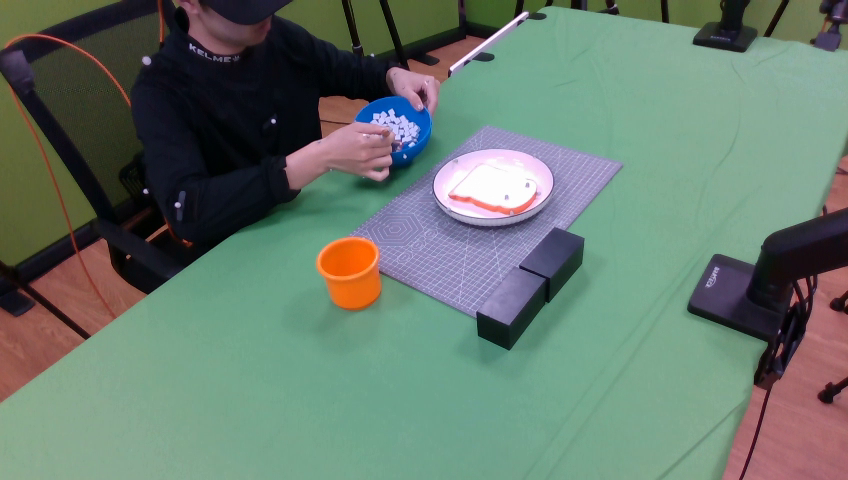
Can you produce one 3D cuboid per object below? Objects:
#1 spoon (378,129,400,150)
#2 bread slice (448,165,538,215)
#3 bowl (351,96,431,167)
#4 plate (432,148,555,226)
[{"bbox_3d":[-0.067,-0.180,1.075,0.041,0.021,0.194,-8,-1,0],"label":"spoon"},{"bbox_3d":[0.126,-0.085,1.038,0.133,0.018,0.107,16,45,27],"label":"bread slice"},{"bbox_3d":[-0.057,-0.193,1.149,0.151,0.077,0.150,-2,56,4],"label":"bowl"},{"bbox_3d":[0.119,-0.087,1.037,0.209,0.038,0.208,-4,40,4],"label":"plate"}]
